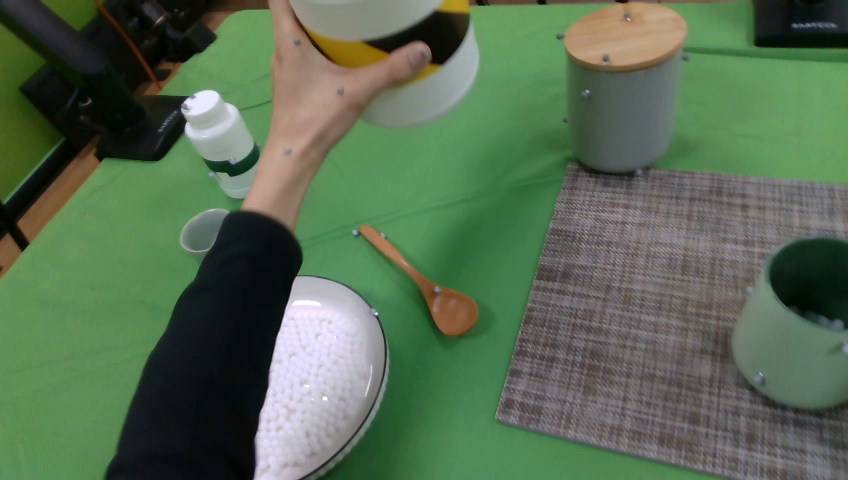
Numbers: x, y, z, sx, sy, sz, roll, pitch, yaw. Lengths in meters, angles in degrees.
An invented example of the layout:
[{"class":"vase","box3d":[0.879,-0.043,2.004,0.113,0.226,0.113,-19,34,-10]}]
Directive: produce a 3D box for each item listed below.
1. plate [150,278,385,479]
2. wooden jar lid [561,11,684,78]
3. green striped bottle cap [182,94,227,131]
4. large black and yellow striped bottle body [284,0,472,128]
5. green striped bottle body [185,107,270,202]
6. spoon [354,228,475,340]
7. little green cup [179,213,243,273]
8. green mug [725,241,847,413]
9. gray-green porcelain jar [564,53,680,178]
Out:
[{"class":"plate","box3d":[-0.132,0.127,0.532,0.209,0.038,0.207,-7,49,8]},{"class":"wooden jar lid","box3d":[0.183,-0.178,0.563,0.108,0.021,0.107,-9,46,10]},{"class":"green striped bottle cap","box3d":[-0.240,-0.139,0.661,0.044,0.020,0.044,-5,51,7]},{"class":"large black and yellow striped bottle body","box3d":[-0.039,-0.192,0.472,0.130,0.186,0.129,-6,61,11]},{"class":"green striped bottle body","box3d":[-0.230,-0.105,0.700,0.063,0.120,0.062,-7,49,9]},{"class":"spoon","box3d":[-0.016,0.034,0.592,0.041,0.022,0.191,-46,53,-4]},{"class":"little green cup","box3d":[-0.230,0.005,0.661,0.061,0.039,0.061,-7,48,8]},{"class":"green mug","box3d":[0.284,0.070,0.423,0.124,0.106,0.092,28,61,32]},{"class":"gray-green porcelain jar","box3d":[0.194,-0.134,0.608,0.106,0.128,0.105,-7,45,7]}]
